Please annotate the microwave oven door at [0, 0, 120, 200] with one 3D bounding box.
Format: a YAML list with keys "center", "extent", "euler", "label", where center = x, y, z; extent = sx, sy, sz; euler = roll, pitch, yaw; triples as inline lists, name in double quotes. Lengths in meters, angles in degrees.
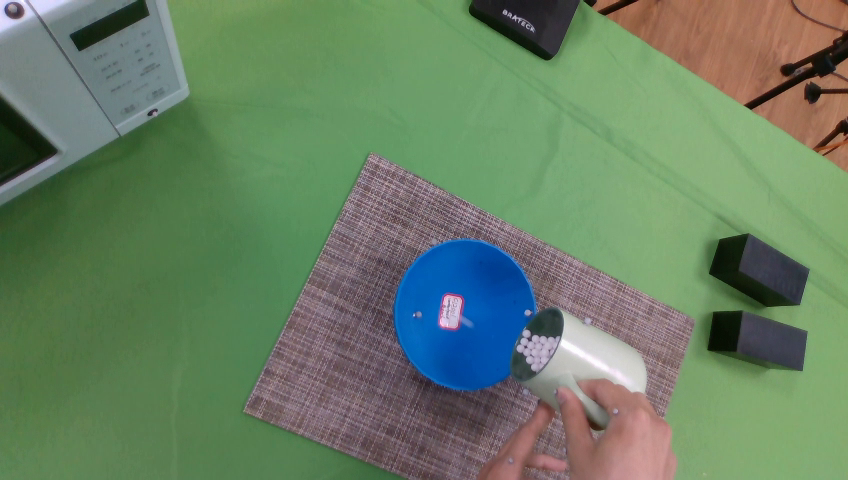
- center: [-0.405, -0.032, 0.417]
  extent: [0.355, 0.243, 0.039]
  euler: [-37, 93, -17]
  label: "microwave oven door"

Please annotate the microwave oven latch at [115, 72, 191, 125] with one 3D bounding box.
- center: [-0.263, -0.143, 0.578]
  extent: [0.079, 0.029, 0.030]
  euler: [-35, 94, -17]
  label: "microwave oven latch"

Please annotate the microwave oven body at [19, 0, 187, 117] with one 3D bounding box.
- center: [-0.460, -0.173, 0.424]
  extent: [0.441, 0.260, 0.326]
  euler: [-37, 94, -16]
  label: "microwave oven body"

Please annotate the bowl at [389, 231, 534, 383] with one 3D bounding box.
- center: [0.030, 0.070, 0.631]
  extent: [0.152, 0.077, 0.151]
  euler: [2, 83, -16]
  label: "bowl"

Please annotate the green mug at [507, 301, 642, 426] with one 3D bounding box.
- center: [0.145, 0.124, 0.565]
  extent: [0.105, 0.124, 0.092]
  euler: [33, 104, -16]
  label: "green mug"
